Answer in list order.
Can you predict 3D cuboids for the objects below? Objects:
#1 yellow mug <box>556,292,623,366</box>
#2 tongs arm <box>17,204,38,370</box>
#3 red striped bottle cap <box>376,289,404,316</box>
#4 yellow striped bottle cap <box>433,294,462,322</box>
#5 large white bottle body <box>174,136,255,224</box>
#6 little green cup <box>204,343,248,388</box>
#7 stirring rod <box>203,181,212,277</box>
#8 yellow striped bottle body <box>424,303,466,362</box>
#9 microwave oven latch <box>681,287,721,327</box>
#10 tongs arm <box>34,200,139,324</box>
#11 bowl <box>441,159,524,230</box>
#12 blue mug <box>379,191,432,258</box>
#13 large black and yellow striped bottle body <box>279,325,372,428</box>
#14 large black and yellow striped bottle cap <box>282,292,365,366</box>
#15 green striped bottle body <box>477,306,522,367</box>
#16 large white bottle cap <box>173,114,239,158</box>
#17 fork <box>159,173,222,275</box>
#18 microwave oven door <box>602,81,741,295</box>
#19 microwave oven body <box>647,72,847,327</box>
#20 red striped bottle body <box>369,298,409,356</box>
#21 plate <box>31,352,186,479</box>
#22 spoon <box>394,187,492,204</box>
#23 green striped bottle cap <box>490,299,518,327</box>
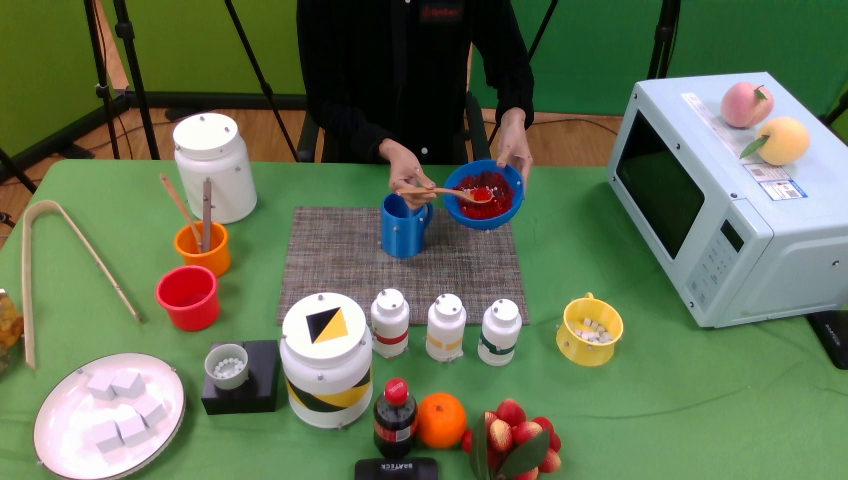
[{"bbox_3d":[0.285,0.146,1.051,0.100,0.064,0.130,7,45,3],"label":"yellow mug"},{"bbox_3d":[-0.698,0.069,1.068,0.028,0.028,0.385,-20,50,-13],"label":"tongs arm"},{"bbox_3d":[-0.055,0.098,0.958,0.044,0.018,0.044,0,48,0],"label":"red striped bottle cap"},{"bbox_3d":[0.037,0.107,0.958,0.044,0.019,0.044,2,45,-2],"label":"yellow striped bottle cap"},{"bbox_3d":[-0.408,-0.137,1.183,0.131,0.185,0.130,2,46,-2],"label":"large white bottle body"},{"bbox_3d":[-0.294,0.190,0.909,0.061,0.039,0.061,1,48,-1],"label":"little green cup"},{"bbox_3d":[-0.396,-0.021,1.108,0.014,0.006,0.176,-1,89,-1],"label":"stirring rod"},{"bbox_3d":[0.035,0.143,0.995,0.063,0.121,0.062,3,46,-3],"label":"yellow striped bottle body"},{"bbox_3d":[0.494,0.119,1.087,0.030,0.029,0.078,-6,46,-9],"label":"microwave oven latch"},{"bbox_3d":[-0.622,0.034,1.105,0.051,0.026,0.382,-32,56,-26],"label":"tongs arm"},{"bbox_3d":[0.112,-0.071,1.125,0.151,0.077,0.150,-6,53,8],"label":"bowl"},{"bbox_3d":[-0.031,-0.037,1.169,0.116,0.106,0.082,-29,55,-28],"label":"blue mug"},{"bbox_3d":[-0.143,0.181,0.900,0.131,0.185,0.130,2,46,-2],"label":"large black and yellow striped bottle body"},{"bbox_3d":[-0.139,0.121,0.841,0.115,0.019,0.114,3,47,-3],"label":"large black and yellow striped bottle cap"},{"bbox_3d":[0.124,0.151,0.995,0.063,0.120,0.063,2,46,-2],"label":"green striped bottle body"},{"bbox_3d":[-0.403,-0.195,1.122,0.115,0.018,0.114,2,47,-2],"label":"large white bottle cap"},{"bbox_3d":[-0.427,-0.029,1.103,0.028,0.018,0.207,-31,99,-30],"label":"fork"},{"bbox_3d":[0.456,-0.107,1.162,0.039,0.245,0.353,-7,47,-10],"label":"microwave oven door"},{"bbox_3d":[0.607,-0.089,1.164,0.326,0.261,0.438,-7,46,-10],"label":"microwave oven body"},{"bbox_3d":[-0.058,0.134,0.997,0.063,0.120,0.062,4,47,-4],"label":"red striped bottle body"},{"bbox_3d":[-0.459,0.262,0.898,0.209,0.038,0.208,2,45,-2],"label":"plate"},{"bbox_3d":[0.036,-0.085,1.084,0.194,0.022,0.041,4,45,-28],"label":"spoon"},{"bbox_3d":[0.127,0.115,0.958,0.044,0.020,0.044,3,48,-3],"label":"green striped bottle cap"}]
